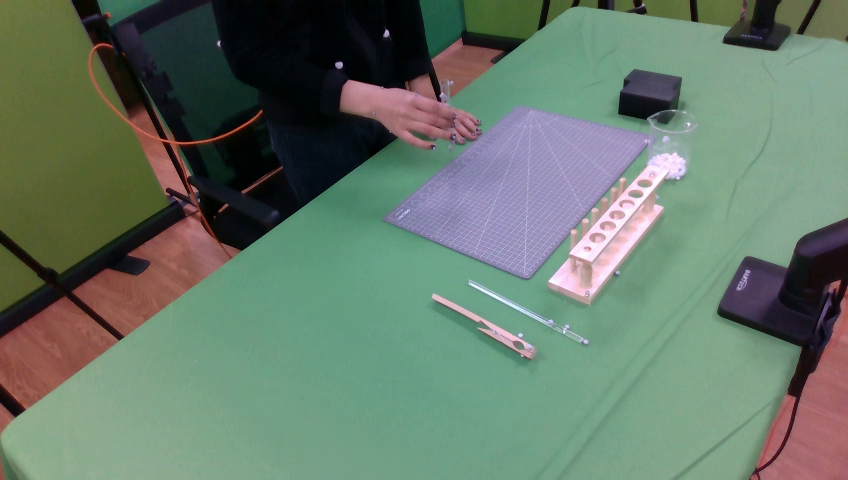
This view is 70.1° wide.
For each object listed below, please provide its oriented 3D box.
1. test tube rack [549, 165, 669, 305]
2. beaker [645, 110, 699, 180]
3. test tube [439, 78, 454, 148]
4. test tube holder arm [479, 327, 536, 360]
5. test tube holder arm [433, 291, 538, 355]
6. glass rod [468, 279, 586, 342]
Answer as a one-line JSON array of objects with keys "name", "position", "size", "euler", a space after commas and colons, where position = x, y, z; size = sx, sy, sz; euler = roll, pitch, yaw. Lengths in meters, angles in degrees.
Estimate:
[{"name": "test tube rack", "position": [0.279, -0.018, 0.902], "size": [0.066, 0.085, 0.243], "euler": [24, 50, 33]}, {"name": "beaker", "position": [0.417, -0.160, 1.033], "size": [0.083, 0.101, 0.074], "euler": [25, 51, 35]}, {"name": "test tube", "position": [0.040, -0.215, 1.043], "size": [0.017, 0.151, 0.017], "euler": [-3, 53, 5]}, {"name": "test tube holder arm", "position": [0.110, 0.134, 0.805], "size": [0.087, 0.015, 0.010], "euler": [29, 83, 36]}, {"name": "test tube holder arm", "position": [0.081, 0.112, 0.832], "size": [0.177, 0.015, 0.013], "euler": [29, 82, 36]}, {"name": "glass rod", "position": [0.140, 0.096, 0.852], "size": [0.198, 0.008, 0.008], "euler": [27, 52, 35]}]
